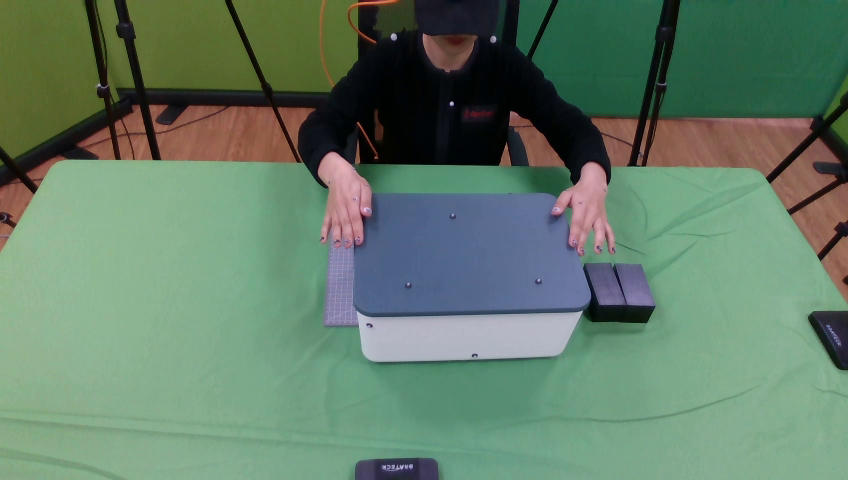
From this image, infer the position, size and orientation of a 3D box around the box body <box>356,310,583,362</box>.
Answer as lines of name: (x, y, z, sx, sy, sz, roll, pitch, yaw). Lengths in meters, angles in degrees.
box body: (0.065, 0.066, 1.040, 0.364, 0.161, 0.252, -1, 46, -5)

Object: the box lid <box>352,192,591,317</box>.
box lid: (0.070, 0.015, 0.986, 0.372, 0.015, 0.261, -1, 47, -5)
